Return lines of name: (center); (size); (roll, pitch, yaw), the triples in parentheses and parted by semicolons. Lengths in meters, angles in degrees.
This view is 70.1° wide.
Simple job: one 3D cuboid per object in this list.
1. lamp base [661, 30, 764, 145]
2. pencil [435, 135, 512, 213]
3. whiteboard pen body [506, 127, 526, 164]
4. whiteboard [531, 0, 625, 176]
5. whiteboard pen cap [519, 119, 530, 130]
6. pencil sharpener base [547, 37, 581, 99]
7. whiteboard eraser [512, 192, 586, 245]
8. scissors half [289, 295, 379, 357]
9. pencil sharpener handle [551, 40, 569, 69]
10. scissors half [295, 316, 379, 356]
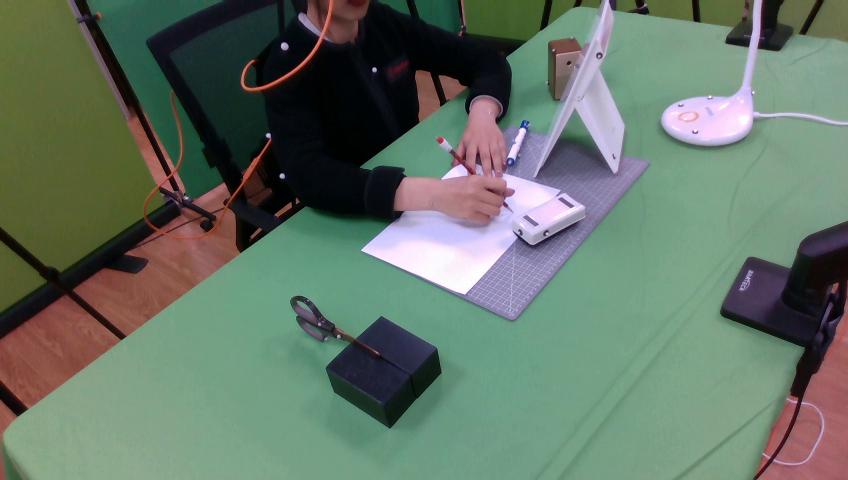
lamp base: (0.535, -0.287, 1.096); (0.179, 0.181, 0.159); (-10, 40, -4)
pencil: (0.084, -0.102, 0.972); (0.012, 0.195, 0.012); (-34, 32, 25)
whiteboard pen body: (0.181, -0.189, 1.162); (0.017, 0.017, 0.140); (8, 42, 19)
whiteboard: (0.320, -0.258, 1.050); (0.144, 0.306, 0.217); (22, 45, 5)
whiteboard pen cap: (0.199, -0.226, 1.204); (0.018, 0.018, 0.033); (7, 42, 18)
pencil sharpener base: (0.299, -0.368, 1.290); (0.061, 0.107, 0.076); (-8, 40, 3)
whiteboard eraser: (0.199, -0.032, 0.962); (0.113, 0.042, 0.055); (-27, 42, -20)
scissors half: (-0.122, 0.114, 0.803); (0.174, 0.040, 0.013); (26, 50, 32)
pencil sharpener handle: (0.291, -0.409, 1.321); (0.036, 0.068, 0.030); (2, 40, -6)
scissors half: (-0.119, 0.132, 0.813); (0.174, 0.040, 0.013); (9, 34, 45)
